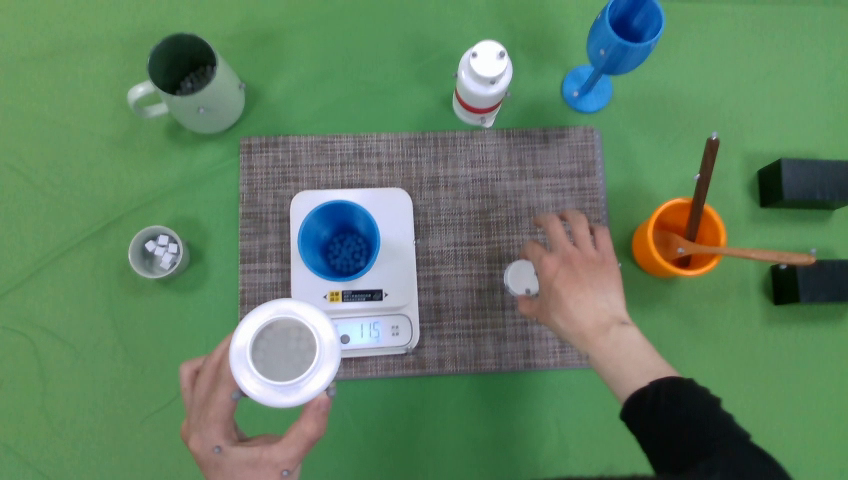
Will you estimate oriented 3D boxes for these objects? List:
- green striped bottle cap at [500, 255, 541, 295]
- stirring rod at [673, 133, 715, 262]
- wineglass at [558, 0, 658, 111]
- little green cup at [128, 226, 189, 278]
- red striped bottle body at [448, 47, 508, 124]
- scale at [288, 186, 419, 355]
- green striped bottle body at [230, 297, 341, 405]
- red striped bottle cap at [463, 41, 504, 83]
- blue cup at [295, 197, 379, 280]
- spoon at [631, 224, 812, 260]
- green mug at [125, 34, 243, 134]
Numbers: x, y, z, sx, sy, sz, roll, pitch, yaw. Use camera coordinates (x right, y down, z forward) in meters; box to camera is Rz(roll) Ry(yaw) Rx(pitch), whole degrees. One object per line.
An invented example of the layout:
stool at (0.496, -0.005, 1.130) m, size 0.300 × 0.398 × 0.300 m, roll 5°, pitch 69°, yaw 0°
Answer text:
green striped bottle cap at (0.111, 0.040, 0.695) m, size 0.044 × 0.020 × 0.044 m, roll 2°, pitch 77°, yaw -6°
stirring rod at (0.309, -0.043, 0.699) m, size 0.014 × 0.178 × 0.006 m, roll 4°, pitch 39°, yaw 12°
wineglass at (0.209, -0.215, 0.710) m, size 0.074 × 0.172 × 0.073 m, roll 0°, pitch 80°, yaw -2°
little green cup at (-0.310, 0.017, 0.716) m, size 0.061 × 0.039 × 0.061 m, roll 1°, pitch 80°, yaw -4°
red striped bottle body at (0.065, -0.189, 0.727) m, size 0.063 × 0.120 × 0.063 m, roll 0°, pitch 80°, yaw -3°
scale at (-0.085, 0.035, 0.723) m, size 0.149 × 0.031 × 0.200 m, roll -3°, pitch 81°, yaw -3°
green striped bottle body at (-0.085, 0.071, 0.382) m, size 0.063 × 0.119 × 0.063 m, roll 2°, pitch 76°, yaw -8°
red striped bottle cap at (0.066, -0.198, 0.674) m, size 0.044 × 0.018 × 0.044 m, roll 1°, pitch 77°, yaw -2°
blue cup at (-0.089, 0.005, 0.662) m, size 0.093 × 0.100 × 0.092 m, roll 0°, pitch 82°, yaw -2°
spoon at (0.331, 0.008, 0.692) m, size 0.022 × 0.192 × 0.041 m, roll 13°, pitch 86°, yaw -44°
green mug at (-0.286, -0.175, 0.716) m, size 0.125 × 0.105 × 0.092 m, roll -25°, pitch 82°, yaw -6°
